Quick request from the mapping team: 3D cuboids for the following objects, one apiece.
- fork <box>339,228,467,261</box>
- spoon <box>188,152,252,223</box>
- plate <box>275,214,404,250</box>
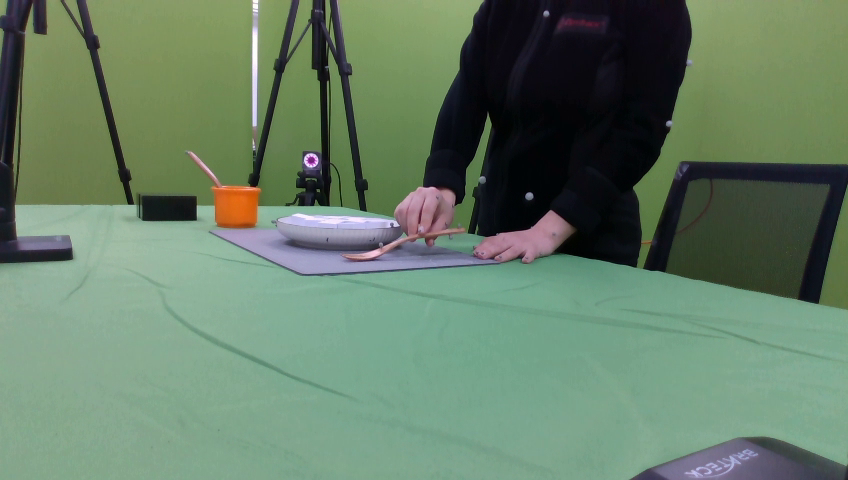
[{"bbox_3d":[-0.023,0.004,0.863,0.208,0.018,0.028,-16,18,-30],"label":"fork"},{"bbox_3d":[-0.400,-0.103,1.178,0.021,0.193,0.042,-43,-11,28],"label":"spoon"},{"bbox_3d":[-0.135,-0.013,0.982,0.208,0.039,0.207,3,7,0],"label":"plate"}]
